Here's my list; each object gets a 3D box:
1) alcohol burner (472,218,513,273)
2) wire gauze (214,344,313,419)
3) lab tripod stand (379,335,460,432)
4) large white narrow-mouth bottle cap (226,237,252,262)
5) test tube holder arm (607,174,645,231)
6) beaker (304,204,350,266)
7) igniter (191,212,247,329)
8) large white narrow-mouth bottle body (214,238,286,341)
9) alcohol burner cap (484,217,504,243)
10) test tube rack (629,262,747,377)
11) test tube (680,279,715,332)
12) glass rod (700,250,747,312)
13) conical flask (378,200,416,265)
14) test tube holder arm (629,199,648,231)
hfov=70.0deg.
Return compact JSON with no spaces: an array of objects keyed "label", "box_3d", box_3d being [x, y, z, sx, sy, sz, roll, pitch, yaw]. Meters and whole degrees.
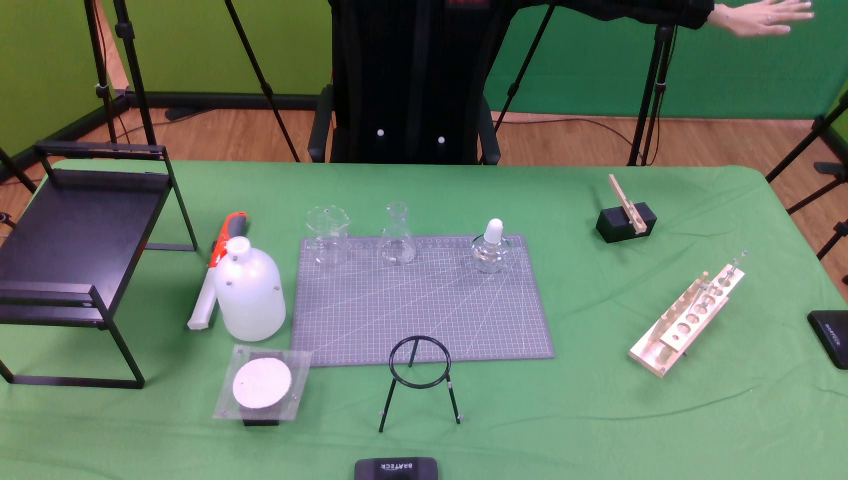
[{"label":"alcohol burner","box_3d":[0.128,0.005,1.132,0.078,0.120,0.077,0,47,0]},{"label":"wire gauze","box_3d":[-0.241,0.213,0.915,0.121,0.011,0.124,5,46,1]},{"label":"lab tripod stand","box_3d":[-0.011,0.214,0.911,0.148,0.132,0.147,1,45,0]},{"label":"large white narrow-mouth bottle cap","box_3d":[-0.282,0.014,0.923,0.038,0.024,0.037,2,46,-2]},{"label":"test tube holder arm","box_3d":[0.411,-0.080,1.238,0.013,0.015,0.177,1,41,-13]},{"label":"beaker","box_3d":[-0.178,-0.006,1.132,0.084,0.101,0.073,4,46,-1]},{"label":"igniter","box_3d":[-0.376,0.047,1.121,0.057,0.025,0.275,-4,46,6]},{"label":"large white narrow-mouth bottle body","box_3d":[-0.285,0.073,0.986,0.102,0.195,0.101,2,46,-2]},{"label":"alcohol burner cap","box_3d":[0.130,-0.021,1.107,0.034,0.048,0.033,6,46,-6]},{"label":"test tube rack","box_3d":[0.464,0.126,1.060,0.242,0.085,0.066,-34,56,-30]},{"label":"test tube","box_3d":[0.445,0.119,0.997,0.017,0.151,0.017,1,44,-1]},{"label":"glass rod","box_3d":[0.501,0.075,1.021,0.008,0.201,0.008,-1,54,1]},{"label":"conical flask","box_3d":[-0.050,-0.018,1.136,0.075,0.122,0.075,2,46,-2]},{"label":"test tube holder arm","box_3d":[0.423,-0.050,1.206,0.010,0.015,0.087,1,41,-12]}]
